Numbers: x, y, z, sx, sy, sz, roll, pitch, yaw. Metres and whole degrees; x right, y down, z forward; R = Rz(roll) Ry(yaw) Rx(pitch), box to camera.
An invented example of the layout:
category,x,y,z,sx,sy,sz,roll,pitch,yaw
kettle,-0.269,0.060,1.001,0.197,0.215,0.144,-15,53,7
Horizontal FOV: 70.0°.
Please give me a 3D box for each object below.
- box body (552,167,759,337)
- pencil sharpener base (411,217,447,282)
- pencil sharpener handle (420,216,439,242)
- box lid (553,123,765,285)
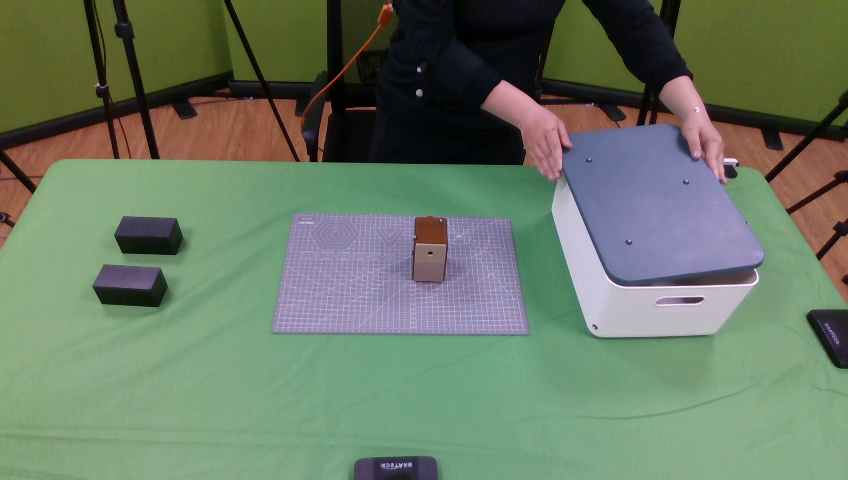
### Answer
category,x,y,z,sx,sy,sz,roll,pitch,yaw
box body,0.400,-0.001,1.131,0.254,0.161,0.361,-1,46,-5
pencil sharpener base,0.009,0.017,1.118,0.061,0.107,0.076,1,45,-2
pencil sharpener handle,0.007,-0.027,1.145,0.036,0.068,0.030,6,45,-6
box lid,0.396,-0.078,1.066,0.263,0.015,0.369,-7,49,-4
